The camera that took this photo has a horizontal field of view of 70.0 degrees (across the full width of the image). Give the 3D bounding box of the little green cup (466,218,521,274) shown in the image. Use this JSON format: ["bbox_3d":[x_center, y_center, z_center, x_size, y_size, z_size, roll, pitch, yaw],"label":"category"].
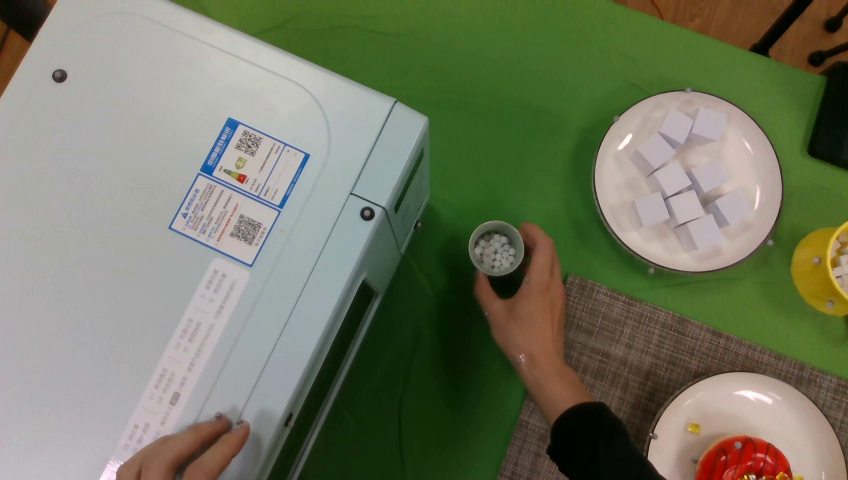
[{"bbox_3d":[0.075,0.009,0.668,0.061,0.039,0.061,0,83,0],"label":"little green cup"}]

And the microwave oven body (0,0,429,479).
[{"bbox_3d":[-0.231,0.049,0.548,0.326,0.261,0.440,24,83,3],"label":"microwave oven body"}]

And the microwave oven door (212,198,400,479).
[{"bbox_3d":[-0.117,0.147,0.528,0.039,0.244,0.355,24,82,5],"label":"microwave oven door"}]

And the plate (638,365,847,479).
[{"bbox_3d":[0.324,0.234,0.630,0.209,0.038,0.208,0,82,1],"label":"plate"}]

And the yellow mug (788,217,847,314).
[{"bbox_3d":[0.464,0.040,0.650,0.100,0.064,0.130,-15,82,-2],"label":"yellow mug"}]

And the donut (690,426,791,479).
[{"bbox_3d":[0.322,0.241,0.618,0.099,0.048,0.099,0,84,3],"label":"donut"}]

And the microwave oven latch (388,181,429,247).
[{"bbox_3d":[-0.021,-0.034,0.657,0.030,0.029,0.079,27,83,4],"label":"microwave oven latch"}]

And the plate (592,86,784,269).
[{"bbox_3d":[0.290,-0.068,0.681,0.208,0.039,0.207,0,81,0],"label":"plate"}]
